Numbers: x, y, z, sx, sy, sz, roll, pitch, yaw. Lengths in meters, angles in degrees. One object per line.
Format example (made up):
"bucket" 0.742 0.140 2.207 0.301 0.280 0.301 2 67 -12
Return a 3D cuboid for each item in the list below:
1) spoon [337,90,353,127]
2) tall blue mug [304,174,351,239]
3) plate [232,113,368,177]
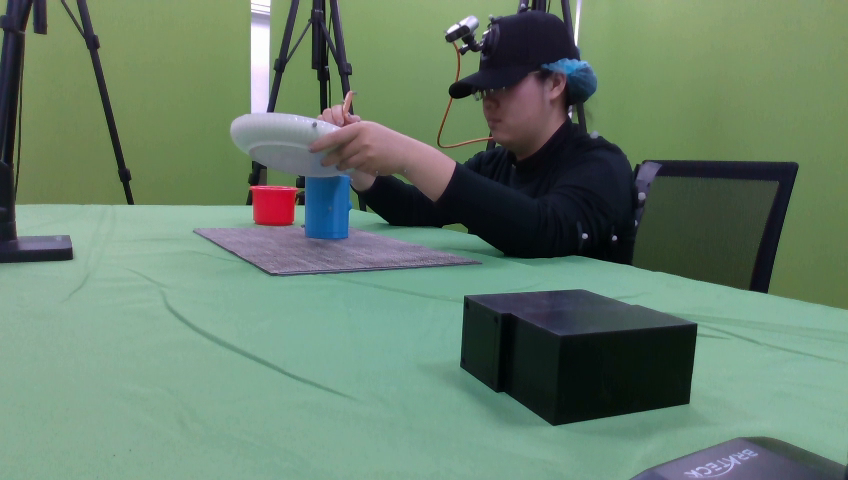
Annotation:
"spoon" -0.156 -0.199 1.072 0.041 0.193 0.022 -7 -42 27
"tall blue mug" -0.178 -0.062 1.062 0.078 0.108 0.106 -5 11 -38
"plate" -0.193 -0.137 0.939 0.208 0.039 0.208 6 -11 1
